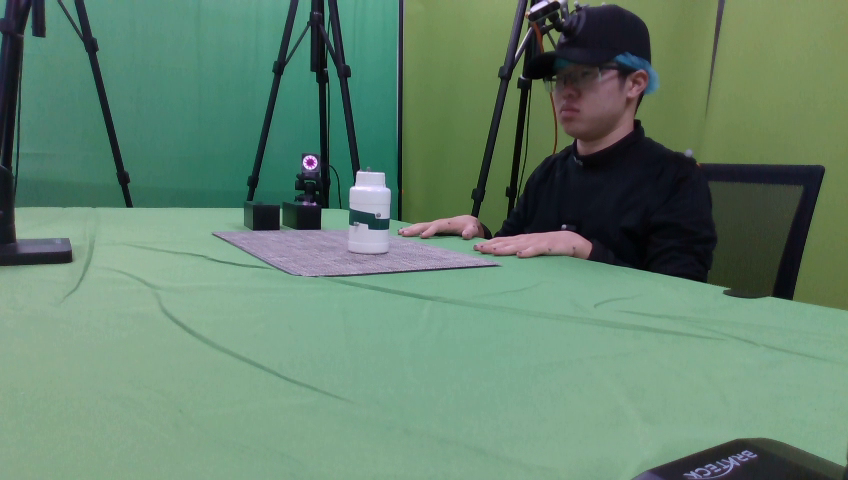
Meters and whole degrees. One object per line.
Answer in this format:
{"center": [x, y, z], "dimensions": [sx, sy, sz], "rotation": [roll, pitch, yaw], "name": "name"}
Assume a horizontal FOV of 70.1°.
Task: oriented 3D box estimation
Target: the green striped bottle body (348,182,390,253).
{"center": [-0.083, -0.043, 0.913], "dimensions": [0.063, 0.119, 0.063], "rotation": [2, 7, 0], "name": "green striped bottle body"}

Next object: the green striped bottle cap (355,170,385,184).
{"center": [-0.080, -0.094, 0.907], "dimensions": [0.044, 0.020, 0.044], "rotation": [3, 9, 0], "name": "green striped bottle cap"}
